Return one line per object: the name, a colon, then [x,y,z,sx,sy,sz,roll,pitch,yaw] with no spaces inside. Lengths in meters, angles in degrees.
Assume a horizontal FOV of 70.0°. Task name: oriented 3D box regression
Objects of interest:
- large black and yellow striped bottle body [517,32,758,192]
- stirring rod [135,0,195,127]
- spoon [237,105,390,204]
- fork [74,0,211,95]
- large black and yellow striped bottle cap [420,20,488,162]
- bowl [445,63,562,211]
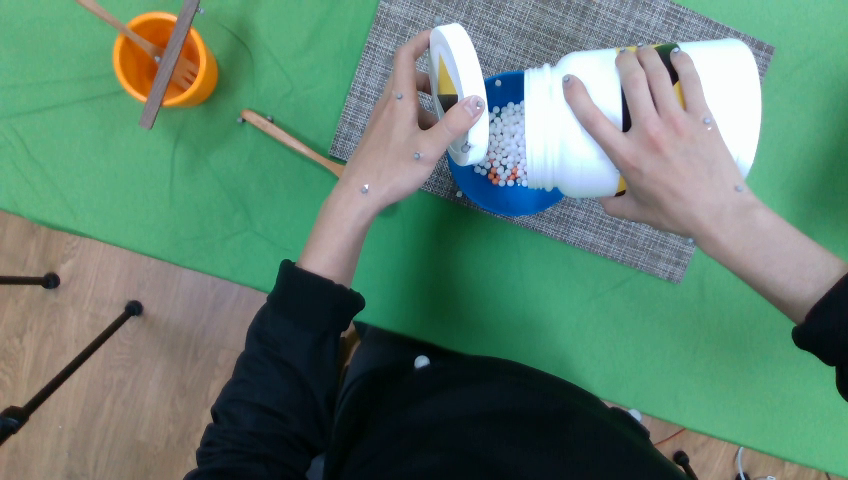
large black and yellow striped bottle body: [0.179,-0.110,0.542,0.184,0.130,0.131,-3,97,7]
stirring rod: [-0.248,-0.195,0.596,0.014,0.006,0.176,22,95,-8]
spoon: [-0.124,-0.100,0.684,0.194,0.021,0.042,30,108,-8]
fork: [-0.298,-0.210,0.594,0.028,0.018,0.209,-49,141,4]
large black and yellow striped bottle cap: [0.022,-0.122,0.506,0.019,0.114,0.115,-12,98,-16]
bowl: [0.091,-0.109,0.666,0.151,0.076,0.151,-1,97,-4]
